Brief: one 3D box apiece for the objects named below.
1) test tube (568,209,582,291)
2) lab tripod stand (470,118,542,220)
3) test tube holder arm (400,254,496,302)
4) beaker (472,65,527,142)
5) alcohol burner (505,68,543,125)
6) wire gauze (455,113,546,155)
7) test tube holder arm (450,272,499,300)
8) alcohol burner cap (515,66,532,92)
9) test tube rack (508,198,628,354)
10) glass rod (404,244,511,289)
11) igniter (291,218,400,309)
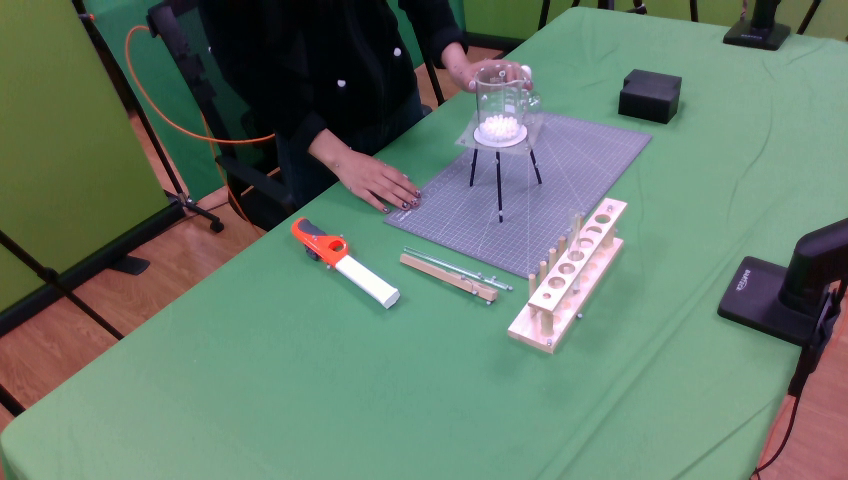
[{"bbox_3d":[0.200,0.017,0.799,0.017,0.151,0.017,-8,45,8],"label":"test tube"},{"bbox_3d":[0.135,-0.129,1.019,0.148,0.132,0.147,-5,38,5],"label":"lab tripod stand"},{"bbox_3d":[0.033,0.054,0.914,0.177,0.015,0.013,21,17,33],"label":"test tube holder arm"},{"bbox_3d":[0.120,-0.211,0.942,0.083,0.101,0.074,10,42,22],"label":"beaker"},{"bbox_3d":[0.201,-0.293,1.216,0.078,0.119,0.077,-4,41,4],"label":"alcohol burner"},{"bbox_3d":[0.124,-0.175,0.973,0.124,0.011,0.121,8,40,21],"label":"wire gauze"},{"bbox_3d":[0.071,0.068,0.895,0.087,0.015,0.010,21,17,33],"label":"test tube holder arm"},{"bbox_3d":[0.198,-0.320,1.192,0.034,0.048,0.033,0,48,1],"label":"alcohol burner cap"},{"bbox_3d":[0.206,0.039,0.850,0.066,0.085,0.243,20,48,31],"label":"test tube rack"},{"bbox_3d":[0.047,0.039,0.939,0.198,0.008,0.008,21,49,31],"label":"glass rod"},{"bbox_3d":[-0.136,0.031,0.970,0.057,0.025,0.274,-41,49,-19],"label":"igniter"}]
